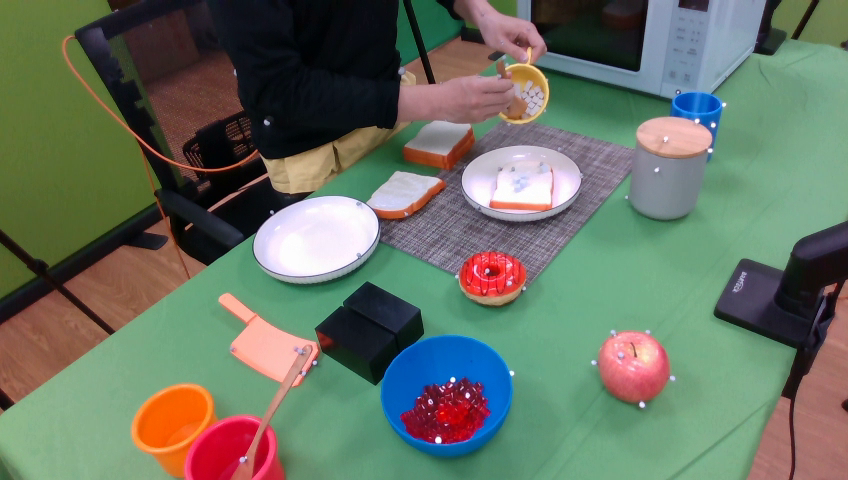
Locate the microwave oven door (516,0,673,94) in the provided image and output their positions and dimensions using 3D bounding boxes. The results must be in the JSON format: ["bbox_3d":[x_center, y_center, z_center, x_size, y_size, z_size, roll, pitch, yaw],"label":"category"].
[{"bbox_3d":[0.344,-0.458,1.257,0.353,0.245,0.039,26,52,33],"label":"microwave oven door"}]

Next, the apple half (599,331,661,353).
[{"bbox_3d":[0.249,0.134,0.738,0.081,0.081,0.032,-1,46,7],"label":"apple half"}]

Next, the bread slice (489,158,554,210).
[{"bbox_3d":[0.173,-0.100,1.047,0.104,0.019,0.131,4,43,12],"label":"bread slice"}]

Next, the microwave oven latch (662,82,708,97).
[{"bbox_3d":[0.518,-0.298,1.202,0.078,0.029,0.030,28,53,35],"label":"microwave oven latch"}]

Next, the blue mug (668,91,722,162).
[{"bbox_3d":[0.474,-0.207,1.078,0.082,0.106,0.116,4,42,13],"label":"blue mug"}]

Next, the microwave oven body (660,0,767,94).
[{"bbox_3d":[0.473,-0.516,1.313,0.438,0.261,0.327,26,51,34],"label":"microwave oven body"}]

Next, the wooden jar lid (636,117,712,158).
[{"bbox_3d":[0.377,-0.151,0.917,0.108,0.021,0.108,-2,41,3],"label":"wooden jar lid"}]

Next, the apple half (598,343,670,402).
[{"bbox_3d":[0.247,0.161,0.710,0.081,0.075,0.053,2,47,5],"label":"apple half"}]

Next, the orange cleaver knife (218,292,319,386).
[{"bbox_3d":[-0.235,0.136,0.850,0.209,0.012,0.077,25,57,30],"label":"orange cleaver knife"}]

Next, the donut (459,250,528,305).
[{"bbox_3d":[0.100,0.053,0.873,0.099,0.048,0.098,-5,40,4],"label":"donut"}]

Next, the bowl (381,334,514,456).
[{"bbox_3d":[0.029,0.192,0.701,0.151,0.077,0.150,-4,40,4],"label":"bowl"}]

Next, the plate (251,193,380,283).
[{"bbox_3d":[-0.173,-0.001,0.984,0.209,0.038,0.208,-4,41,4],"label":"plate"}]

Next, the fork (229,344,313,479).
[{"bbox_3d":[-0.173,0.205,0.662,0.028,0.019,0.207,29,94,36],"label":"fork"}]

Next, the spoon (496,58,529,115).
[{"bbox_3d":[0.139,-0.246,0.979,0.041,0.195,0.021,-32,68,11],"label":"spoon"}]

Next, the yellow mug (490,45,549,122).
[{"bbox_3d":[0.171,-0.273,1.056,0.100,0.131,0.064,13,14,7],"label":"yellow mug"}]

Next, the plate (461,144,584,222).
[{"bbox_3d":[0.168,-0.095,1.040,0.207,0.039,0.206,-4,40,4],"label":"plate"}]

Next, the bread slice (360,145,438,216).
[{"bbox_3d":[-0.053,-0.103,1.046,0.106,0.018,0.134,18,66,23],"label":"bread slice"}]

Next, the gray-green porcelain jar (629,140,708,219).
[{"bbox_3d":[0.383,-0.104,0.958,0.106,0.127,0.105,-4,41,4],"label":"gray-green porcelain jar"}]
